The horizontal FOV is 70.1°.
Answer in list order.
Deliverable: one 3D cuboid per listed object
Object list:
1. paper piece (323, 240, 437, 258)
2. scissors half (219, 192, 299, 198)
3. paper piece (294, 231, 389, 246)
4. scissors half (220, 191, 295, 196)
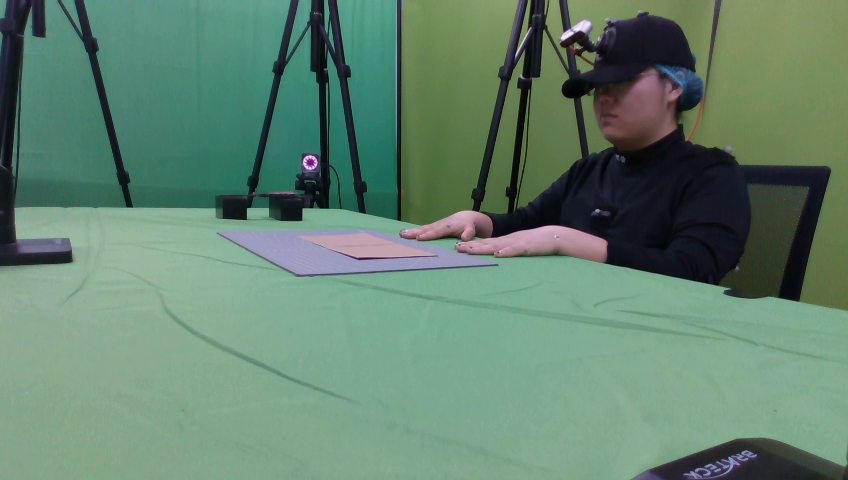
[{"bbox_3d":[-0.069,0.015,0.932,0.137,0.008,0.137,-5,10,-30],"label":"paper piece"},{"bbox_3d":[-0.370,-0.101,1.363,0.176,0.013,0.040,-2,9,-19],"label":"scissors half"},{"bbox_3d":[-0.138,-0.002,1.045,0.136,0.004,0.134,-3,10,-30],"label":"paper piece"},{"bbox_3d":[-0.379,-0.105,1.380,0.176,0.013,0.040,-5,16,-35],"label":"scissors half"}]
